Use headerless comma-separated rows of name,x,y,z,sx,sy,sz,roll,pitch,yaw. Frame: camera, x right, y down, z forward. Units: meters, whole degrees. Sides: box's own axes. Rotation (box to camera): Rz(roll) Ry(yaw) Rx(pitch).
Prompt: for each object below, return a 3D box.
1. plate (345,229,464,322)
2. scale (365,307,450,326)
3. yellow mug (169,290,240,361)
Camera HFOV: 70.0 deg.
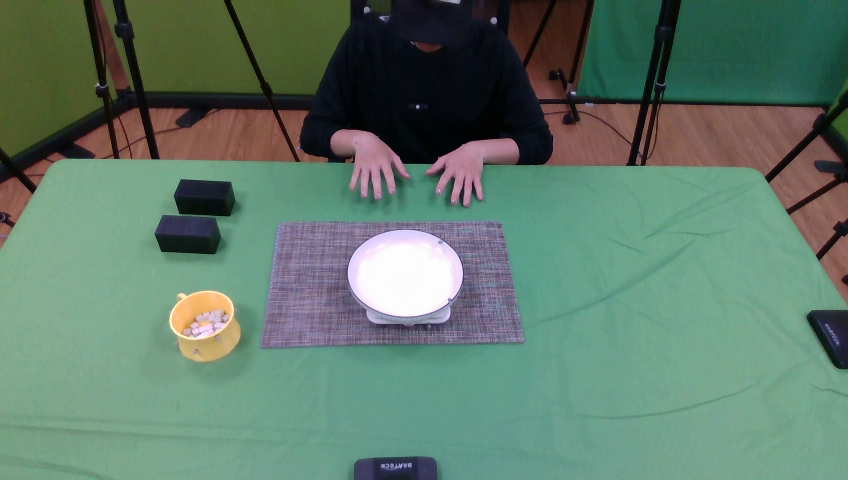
plate,-0.034,0.065,1.073,0.209,0.038,0.208,2,46,-2
scale,-0.032,0.071,1.113,0.149,0.032,0.199,1,46,-4
yellow mug,-0.373,0.132,1.009,0.130,0.064,0.100,35,53,27
